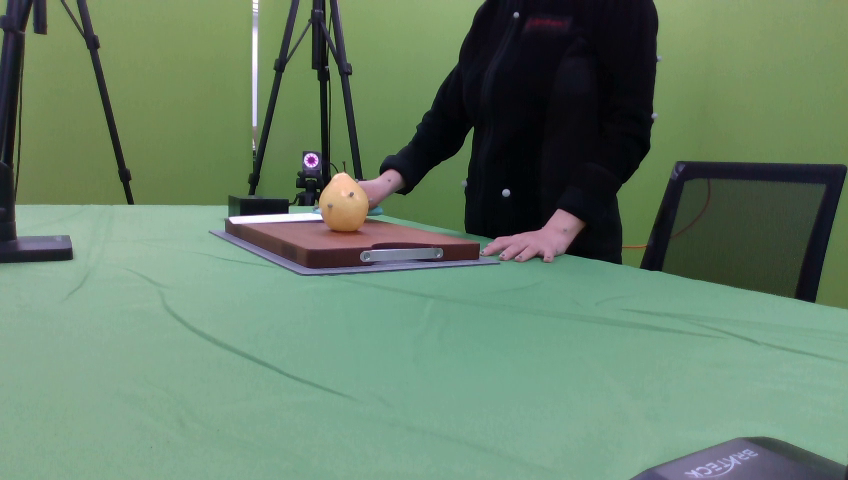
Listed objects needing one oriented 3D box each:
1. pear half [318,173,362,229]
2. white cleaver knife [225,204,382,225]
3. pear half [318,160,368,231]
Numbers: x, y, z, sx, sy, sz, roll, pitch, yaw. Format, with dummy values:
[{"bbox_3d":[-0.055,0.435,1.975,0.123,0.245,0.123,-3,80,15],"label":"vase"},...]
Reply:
[{"bbox_3d":[-0.136,-0.062,0.959,0.071,0.088,0.031,-8,11,-29],"label":"pear half"},{"bbox_3d":[-0.202,-0.040,1.068,0.288,0.021,0.065,-7,20,-32],"label":"white cleaver knife"},{"bbox_3d":[-0.120,-0.067,0.927,0.077,0.110,0.055,-7,11,-29],"label":"pear half"}]
